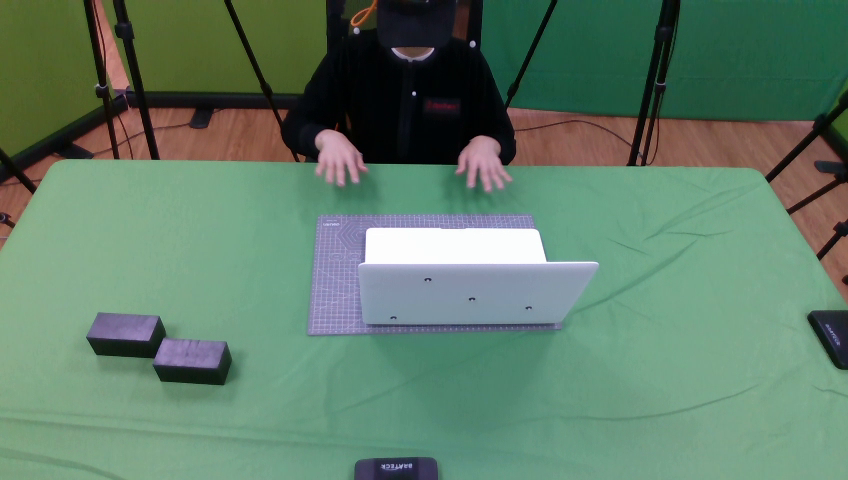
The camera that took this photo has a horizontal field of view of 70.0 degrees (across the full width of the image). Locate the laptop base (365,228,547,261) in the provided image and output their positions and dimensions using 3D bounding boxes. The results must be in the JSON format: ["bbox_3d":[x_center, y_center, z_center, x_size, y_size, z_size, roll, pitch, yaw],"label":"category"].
[{"bbox_3d":[0.064,0.063,1.143,0.355,0.023,0.234,0,42,-4],"label":"laptop base"}]

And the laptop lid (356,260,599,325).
[{"bbox_3d":[0.074,0.089,0.958,0.357,0.242,0.013,1,60,-5],"label":"laptop lid"}]
